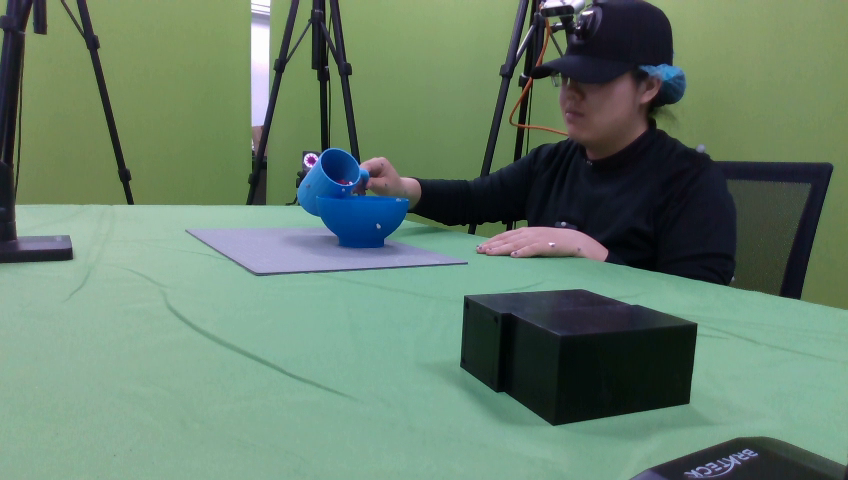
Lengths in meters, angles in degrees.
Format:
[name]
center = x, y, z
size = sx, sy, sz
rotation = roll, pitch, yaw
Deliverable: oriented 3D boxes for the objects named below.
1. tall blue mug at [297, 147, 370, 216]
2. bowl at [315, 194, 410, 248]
[tall blue mug]
center = -0.158, -0.106, 1.064
size = 0.107, 0.078, 0.107
rotation = -40, -1, -43
[bowl]
center = -0.100, -0.030, 0.971
size = 0.151, 0.077, 0.151
rotation = 2, 7, 0
